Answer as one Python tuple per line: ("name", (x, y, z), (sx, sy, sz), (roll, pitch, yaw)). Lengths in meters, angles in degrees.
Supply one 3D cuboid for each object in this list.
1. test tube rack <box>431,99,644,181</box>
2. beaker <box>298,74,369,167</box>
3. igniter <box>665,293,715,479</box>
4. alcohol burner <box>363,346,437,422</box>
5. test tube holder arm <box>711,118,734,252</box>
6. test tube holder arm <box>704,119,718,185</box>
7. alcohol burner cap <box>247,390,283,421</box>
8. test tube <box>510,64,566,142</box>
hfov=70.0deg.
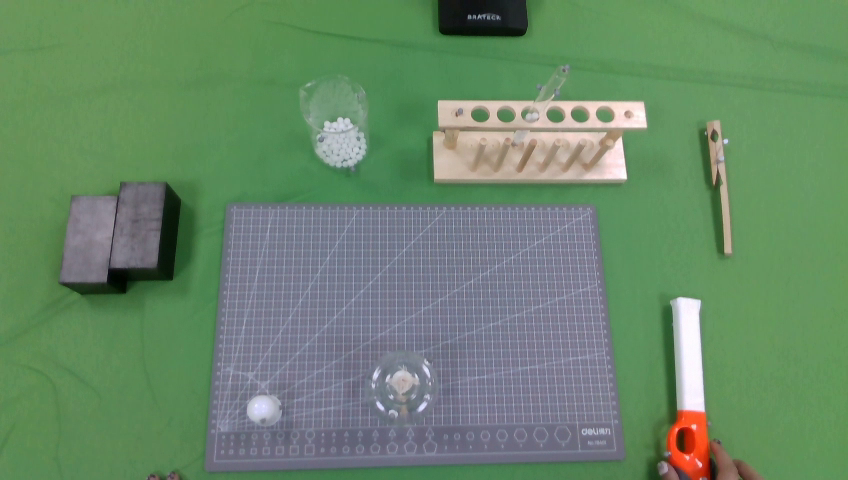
("test tube rack", (0.133, -0.119, 0.732), (0.243, 0.085, 0.066), (0, 72, -4))
("beaker", (-0.105, -0.137, 0.714), (0.084, 0.101, 0.073), (27, 72, 6))
("igniter", (0.294, 0.196, 0.675), (0.057, 0.025, 0.275), (9, 72, -12))
("alcohol burner", (-0.023, 0.145, 0.620), (0.078, 0.119, 0.077), (2, 70, -4))
("test tube holder arm", (0.377, -0.072, 0.768), (0.013, 0.015, 0.177), (-10, 70, 29))
("test tube holder arm", (0.372, -0.114, 0.784), (0.010, 0.015, 0.087), (-9, 71, 30))
("alcohol burner cap", (-0.169, 0.173, 0.638), (0.034, 0.048, 0.033), (1, 72, -3))
("test tube", (0.126, -0.151, 0.689), (0.017, 0.150, 0.017), (3, 71, -10))
